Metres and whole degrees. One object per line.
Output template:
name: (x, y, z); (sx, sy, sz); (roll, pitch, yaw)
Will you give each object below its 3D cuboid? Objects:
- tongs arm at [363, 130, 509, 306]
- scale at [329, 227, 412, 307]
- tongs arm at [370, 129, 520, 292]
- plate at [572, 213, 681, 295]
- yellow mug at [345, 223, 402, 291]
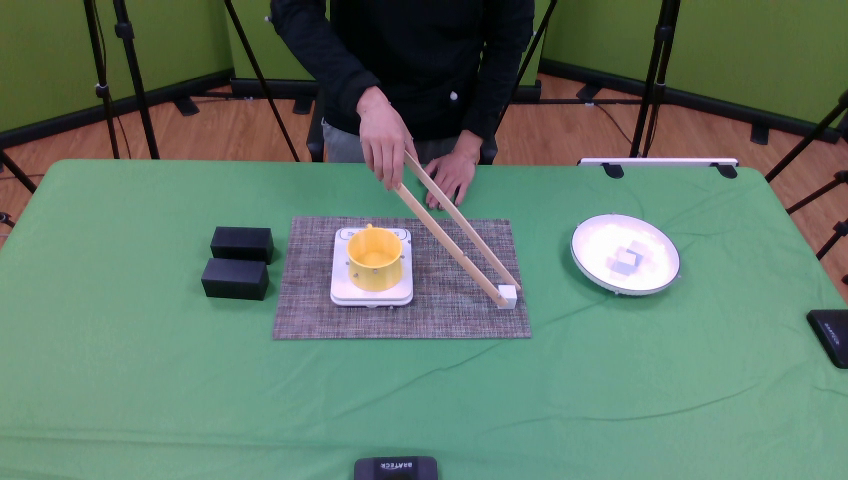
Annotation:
tongs arm: (0.023, -0.037, 1.078); (0.385, 0.026, 0.050); (47, 53, -4)
scale: (-0.099, 0.042, 1.139); (0.149, 0.032, 0.199); (1, 46, -4)
tongs arm: (0.041, -0.053, 1.096); (0.387, 0.028, 0.028); (48, 57, -3)
plate: (0.392, 0.030, 1.189); (0.208, 0.039, 0.206); (2, 46, -2)
yellow mug: (-0.092, 0.022, 1.093); (0.100, 0.064, 0.130); (-8, 46, -10)
